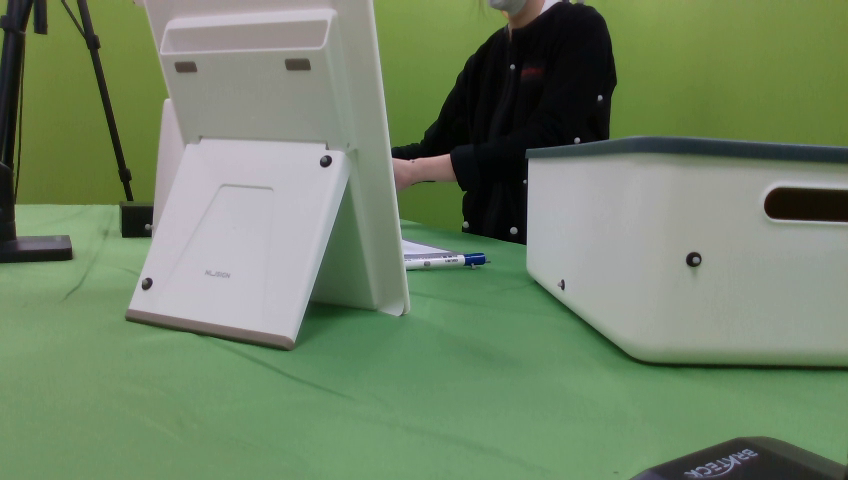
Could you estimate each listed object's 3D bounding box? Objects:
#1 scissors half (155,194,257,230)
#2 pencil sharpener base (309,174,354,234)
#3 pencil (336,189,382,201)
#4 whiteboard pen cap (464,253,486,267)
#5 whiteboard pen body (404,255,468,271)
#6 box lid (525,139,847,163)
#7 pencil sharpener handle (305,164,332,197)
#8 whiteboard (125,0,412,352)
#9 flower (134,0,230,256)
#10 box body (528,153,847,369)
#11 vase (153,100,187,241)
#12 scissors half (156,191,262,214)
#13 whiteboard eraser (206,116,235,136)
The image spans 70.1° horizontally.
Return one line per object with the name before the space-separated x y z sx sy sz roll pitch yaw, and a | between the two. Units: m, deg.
scissors half | -0.378 -0.051 1.058 0.176 0.040 0.012 20 22 -31
pencil sharpener base | -0.176 -0.069 1.139 0.062 0.107 0.076 -3 9 -32
pencil | -0.116 -0.080 1.040 0.012 0.012 0.193 -2 9 -30
whiteboard pen cap | 0.066 0.027 0.818 0.033 0.018 0.018 -6 10 -24
whiteboard pen body | 0.013 0.030 0.792 0.141 0.017 0.017 -3 9 -24
box lid | 0.261 -0.078 0.580 0.264 0.015 0.371 2 7 -4
pencil sharpener handle | -0.208 -0.117 1.172 0.036 0.068 0.030 -35 24 -24
whiteboard | -0.151 -0.049 0.472 0.216 0.305 0.144 6 27 24
flower | -0.282 -0.147 0.713 0.038 0.362 0.044 -23 24 -31
box body | 0.258 -0.005 0.591 0.254 0.160 0.363 2 7 -4
vase | -0.278 -0.066 0.736 0.098 0.200 0.098 2 9 0
scissors half | -0.371 -0.069 1.051 0.176 0.040 0.013 2 25 -24
whiteboard eraser | -0.450 -0.252 1.335 0.056 0.042 0.112 1 7 -22
